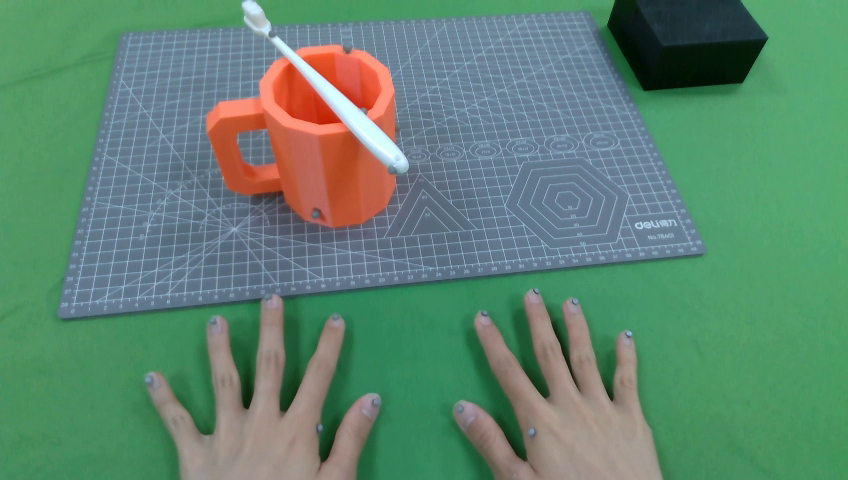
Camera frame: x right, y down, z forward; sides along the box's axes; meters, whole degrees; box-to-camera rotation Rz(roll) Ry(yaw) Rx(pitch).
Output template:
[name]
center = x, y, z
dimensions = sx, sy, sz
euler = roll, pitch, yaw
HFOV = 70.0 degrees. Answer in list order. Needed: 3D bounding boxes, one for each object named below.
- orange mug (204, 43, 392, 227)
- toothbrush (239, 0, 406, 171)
[orange mug]
center = -0.083, -0.070, 0.423
dimensions = 0.126, 0.101, 0.082
euler = -8, 56, -14
[toothbrush]
center = -0.069, -0.102, 0.382
dimensions = 0.014, 0.017, 0.180
euler = -32, 63, -23
